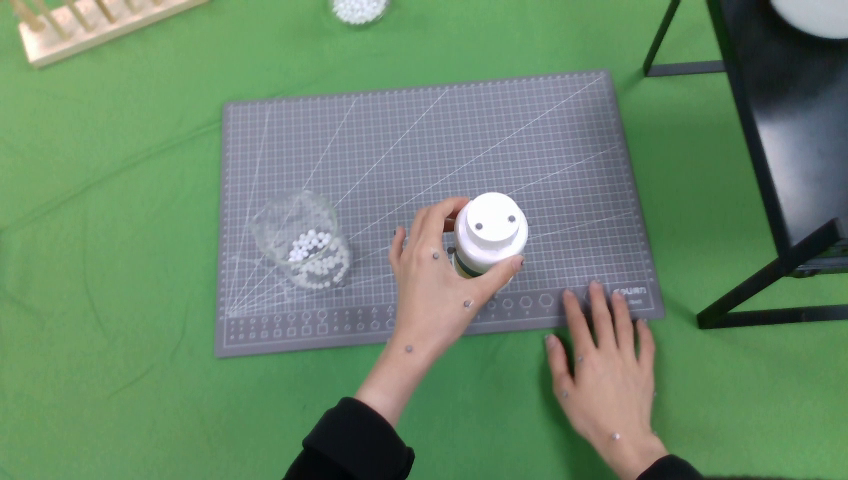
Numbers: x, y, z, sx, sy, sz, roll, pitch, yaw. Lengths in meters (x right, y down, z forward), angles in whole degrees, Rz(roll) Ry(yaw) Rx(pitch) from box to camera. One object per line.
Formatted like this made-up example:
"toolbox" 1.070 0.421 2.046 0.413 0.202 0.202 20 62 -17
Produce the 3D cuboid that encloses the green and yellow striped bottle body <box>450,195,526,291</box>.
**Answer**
"green and yellow striped bottle body" 0.055 0.000 0.536 0.063 0.120 0.062 0 70 1

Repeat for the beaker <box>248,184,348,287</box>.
"beaker" -0.117 0.001 0.589 0.084 0.101 0.073 6 69 5

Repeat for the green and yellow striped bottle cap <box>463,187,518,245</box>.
"green and yellow striped bottle cap" 0.053 -0.020 0.488 0.045 0.020 0.045 0 70 0

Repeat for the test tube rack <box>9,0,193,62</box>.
"test tube rack" -0.379 -0.307 0.719 0.242 0.086 0.066 -25 71 -7

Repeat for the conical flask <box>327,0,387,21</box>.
"conical flask" -0.084 -0.319 0.695 0.075 0.122 0.075 -1 69 2

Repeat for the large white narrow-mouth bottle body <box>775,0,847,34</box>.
"large white narrow-mouth bottle body" 0.335 -0.245 0.425 0.102 0.196 0.101 -1 68 4
